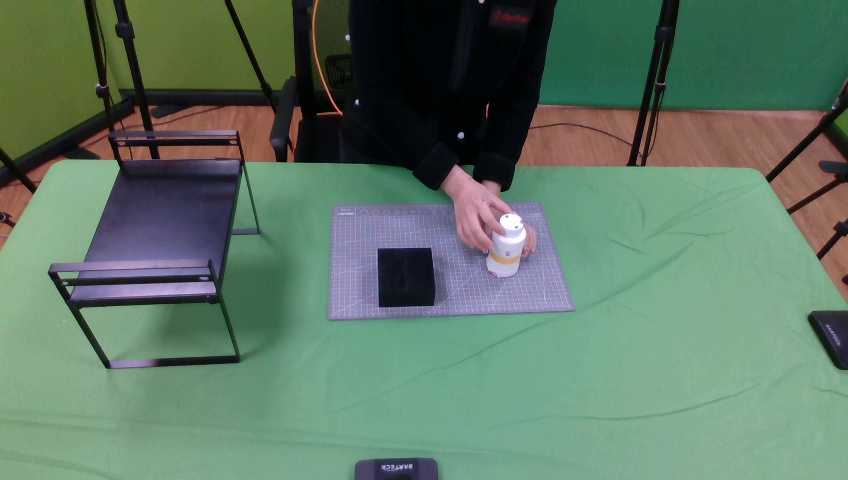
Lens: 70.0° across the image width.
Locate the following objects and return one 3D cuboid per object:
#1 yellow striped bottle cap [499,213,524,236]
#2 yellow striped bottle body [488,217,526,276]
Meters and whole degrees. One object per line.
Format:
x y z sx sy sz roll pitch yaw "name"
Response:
0.158 -0.029 1.090 0.044 0.019 0.044 4 46 -4 "yellow striped bottle cap"
0.154 0.006 1.128 0.063 0.121 0.062 0 46 0 "yellow striped bottle body"
